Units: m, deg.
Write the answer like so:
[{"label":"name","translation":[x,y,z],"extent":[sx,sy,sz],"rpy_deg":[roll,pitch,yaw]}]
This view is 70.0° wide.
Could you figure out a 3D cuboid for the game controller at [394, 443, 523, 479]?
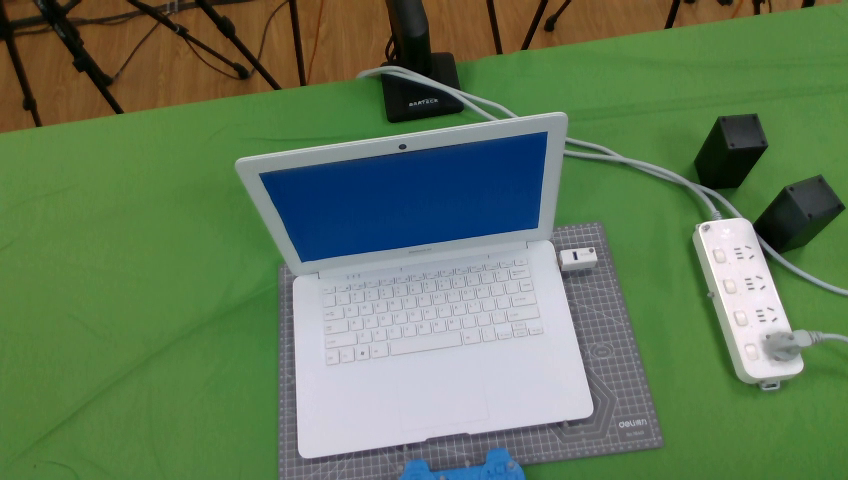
[{"label":"game controller","translation":[0.039,0.283,0.671],"extent":[0.155,0.052,0.096],"rpy_deg":[-8,62,0]}]

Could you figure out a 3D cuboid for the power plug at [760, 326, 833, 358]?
[{"label":"power plug","translation":[0.431,0.121,0.707],"extent":[0.072,0.053,0.035],"rpy_deg":[5,64,2]}]

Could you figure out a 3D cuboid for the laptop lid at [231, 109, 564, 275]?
[{"label":"laptop lid","translation":[-0.018,-0.044,0.718],"extent":[0.357,0.244,0.013],"rpy_deg":[-10,55,1]}]

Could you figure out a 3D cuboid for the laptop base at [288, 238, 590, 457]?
[{"label":"laptop base","translation":[0.008,0.127,0.765],"extent":[0.354,0.023,0.233],"rpy_deg":[-9,67,0]}]

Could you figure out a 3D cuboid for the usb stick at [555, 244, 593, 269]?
[{"label":"usb stick","translation":[0.188,0.023,0.789],"extent":[0.059,0.027,0.021],"rpy_deg":[-9,65,4]}]

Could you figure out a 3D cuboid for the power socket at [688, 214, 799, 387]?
[{"label":"power socket","translation":[0.395,0.067,0.758],"extent":[0.072,0.033,0.224],"rpy_deg":[-7,64,2]}]
